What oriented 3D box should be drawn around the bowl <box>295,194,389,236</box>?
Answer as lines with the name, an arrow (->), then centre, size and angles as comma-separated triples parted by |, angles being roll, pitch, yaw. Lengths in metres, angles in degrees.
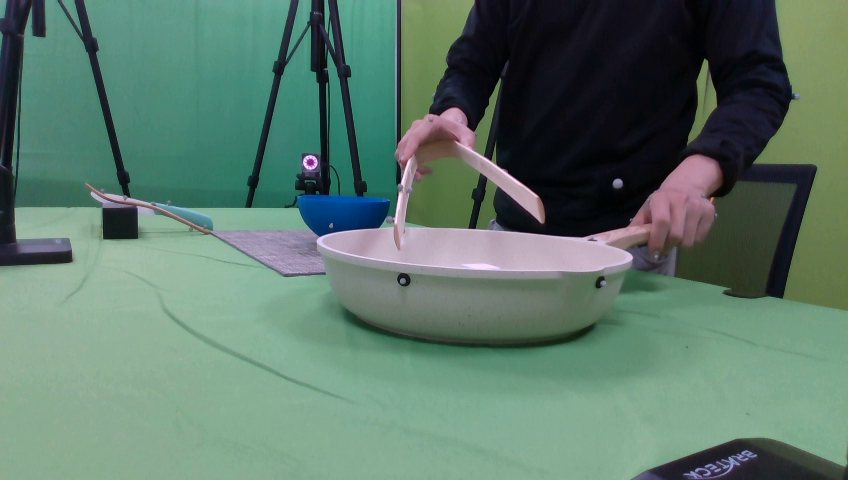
bowl -> -0.132, -0.032, 0.980 | 0.151, 0.077, 0.151 | 2, 7, 0

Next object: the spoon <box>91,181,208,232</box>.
spoon -> -0.461, -0.053, 1.023 | 0.195, 0.021, 0.041 | 22, 25, -24

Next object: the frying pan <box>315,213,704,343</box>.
frying pan -> 0.133, 0.014, 0.629 | 0.490, 0.102, 0.305 | -11, 14, -29

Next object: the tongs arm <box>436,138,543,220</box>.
tongs arm -> 0.064, -0.081, 0.690 | 0.028, 0.028, 0.386 | -18, 19, -4

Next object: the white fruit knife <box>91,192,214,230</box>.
white fruit knife -> -0.477, -0.055, 1.077 | 0.208, 0.027, 0.016 | 15, -5, -30

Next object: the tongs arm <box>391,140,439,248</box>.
tongs arm -> -0.004, -0.068, 0.690 | 0.051, 0.026, 0.384 | -12, 18, 4
